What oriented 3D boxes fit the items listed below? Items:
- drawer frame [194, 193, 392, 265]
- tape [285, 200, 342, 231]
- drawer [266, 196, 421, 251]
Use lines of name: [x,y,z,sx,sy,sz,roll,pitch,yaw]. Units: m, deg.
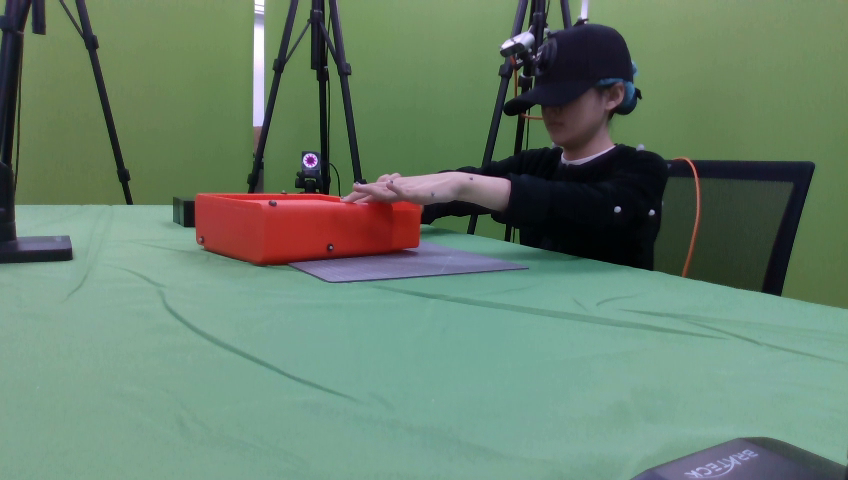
drawer frame: [-0.190,-0.024,0.882,0.215,0.082,0.200,-5,11,-44]
tape: [-0.223,-0.051,1.222,0.117,0.052,0.117,3,7,0]
drawer: [-0.145,-0.026,0.926,0.213,0.073,0.193,-4,11,-43]
